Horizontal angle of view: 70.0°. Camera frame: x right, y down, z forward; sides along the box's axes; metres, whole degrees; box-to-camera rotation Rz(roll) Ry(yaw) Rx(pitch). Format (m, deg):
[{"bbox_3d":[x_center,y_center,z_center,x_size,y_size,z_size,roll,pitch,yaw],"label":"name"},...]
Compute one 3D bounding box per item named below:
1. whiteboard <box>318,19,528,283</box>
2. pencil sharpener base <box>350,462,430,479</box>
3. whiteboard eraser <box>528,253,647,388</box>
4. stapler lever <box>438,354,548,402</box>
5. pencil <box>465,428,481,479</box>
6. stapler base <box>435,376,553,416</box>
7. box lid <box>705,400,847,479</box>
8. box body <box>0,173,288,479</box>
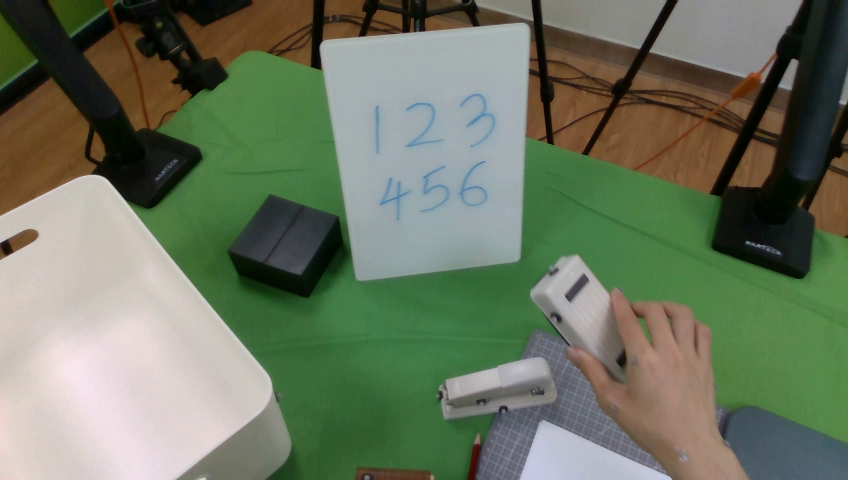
[{"bbox_3d":[0.000,-0.123,0.750,0.217,0.308,0.142,-6,34,-5],"label":"whiteboard"},{"bbox_3d":[-0.034,0.250,0.557,0.076,0.108,0.061,3,53,2],"label":"pencil sharpener base"},{"bbox_3d":[0.140,0.070,0.525,0.113,0.042,0.055,50,59,-7],"label":"whiteboard eraser"},{"bbox_3d":[0.075,0.148,0.653,0.118,0.040,0.026,-9,49,-3],"label":"stapler lever"},{"bbox_3d":[0.035,0.276,0.599,0.012,0.012,0.192,13,53,9],"label":"pencil"},{"bbox_3d":[0.078,0.164,0.673,0.131,0.024,0.041,-9,49,-3],"label":"stapler base"},{"bbox_3d":[0.374,0.346,0.550,0.262,0.015,0.369,22,56,14],"label":"box lid"},{"bbox_3d":[-0.336,0.137,0.603,0.254,0.162,0.361,-37,62,-24],"label":"box body"}]
